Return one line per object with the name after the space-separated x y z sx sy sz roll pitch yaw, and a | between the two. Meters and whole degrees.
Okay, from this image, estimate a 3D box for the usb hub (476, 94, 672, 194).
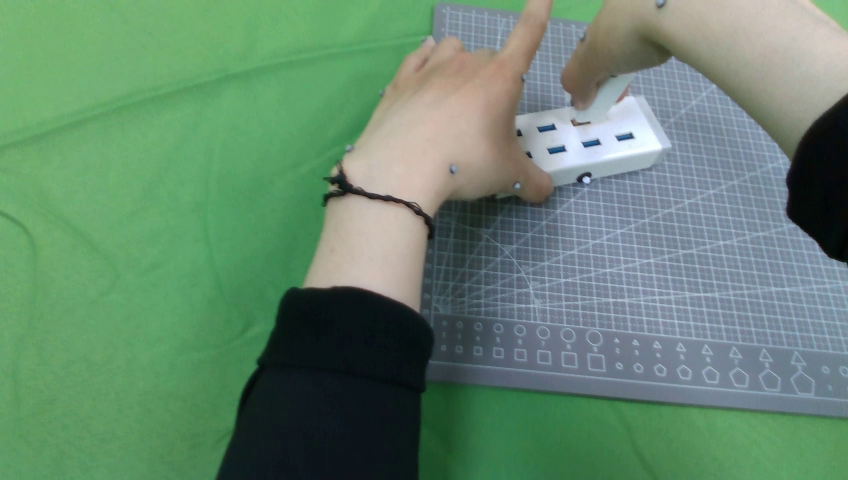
0.101 -0.067 0.412 0.125 0.025 0.049 -11 65 -14 | usb hub

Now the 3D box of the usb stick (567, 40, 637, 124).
0.110 -0.097 0.389 0.021 0.059 0.027 -16 65 -18 | usb stick
